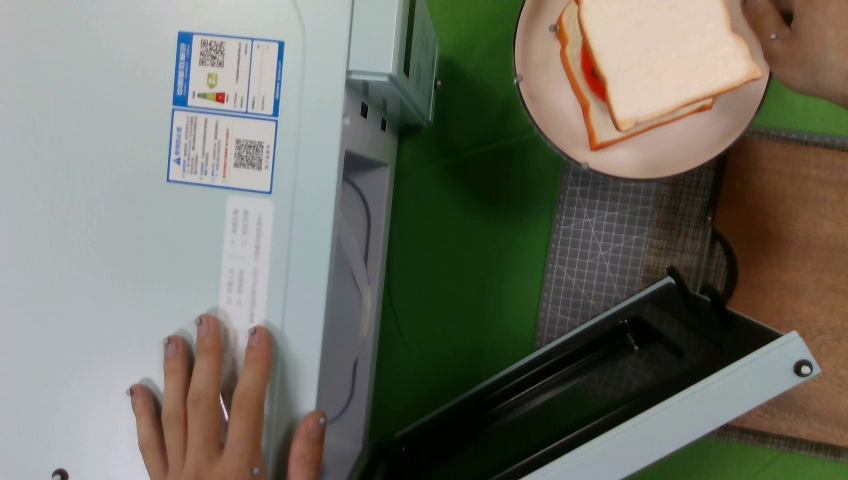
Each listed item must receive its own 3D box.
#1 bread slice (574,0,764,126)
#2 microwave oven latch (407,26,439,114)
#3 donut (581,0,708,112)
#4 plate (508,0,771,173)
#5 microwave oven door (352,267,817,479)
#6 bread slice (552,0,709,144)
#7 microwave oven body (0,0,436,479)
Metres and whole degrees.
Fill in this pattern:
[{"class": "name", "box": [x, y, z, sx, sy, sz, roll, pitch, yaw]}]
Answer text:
[{"class": "bread slice", "box": [0.166, -0.159, 0.446, 0.107, 0.018, 0.134, -24, 82, 4]}, {"class": "microwave oven latch", "box": [-0.003, -0.160, 0.569, 0.030, 0.029, 0.079, 7, 97, 5]}, {"class": "donut", "box": [0.172, -0.150, 0.474, 0.099, 0.048, 0.099, 0, 91, -1]}, {"class": "plate", "box": [0.173, -0.157, 0.503, 0.207, 0.039, 0.207, 0, 89, 4]}, {"class": "microwave oven door", "box": [0.085, 0.143, 0.486, 0.356, 0.243, 0.039, -33, 90, 8]}, {"class": "bread slice", "box": [0.165, -0.157, 0.504, 0.105, 0.019, 0.131, -21, 88, 1]}, {"class": "microwave oven body", "box": [-0.179, 0.006, 0.506, 0.326, 0.260, 0.442, 6, 96, 5]}]
